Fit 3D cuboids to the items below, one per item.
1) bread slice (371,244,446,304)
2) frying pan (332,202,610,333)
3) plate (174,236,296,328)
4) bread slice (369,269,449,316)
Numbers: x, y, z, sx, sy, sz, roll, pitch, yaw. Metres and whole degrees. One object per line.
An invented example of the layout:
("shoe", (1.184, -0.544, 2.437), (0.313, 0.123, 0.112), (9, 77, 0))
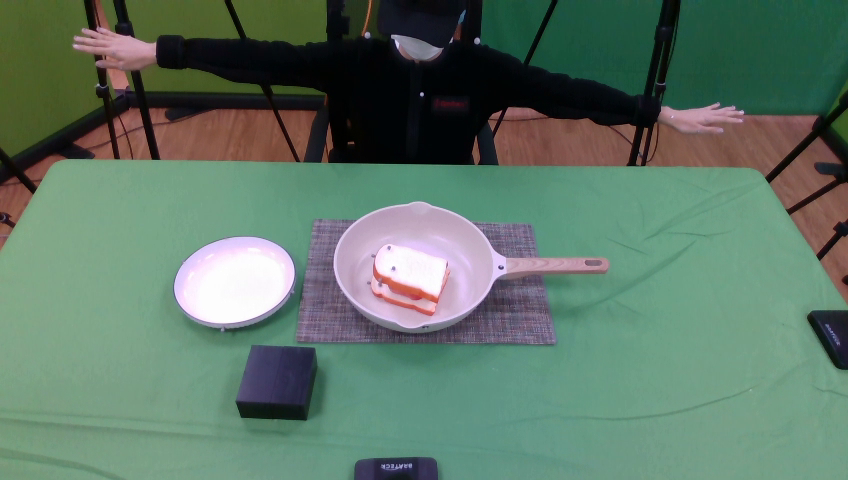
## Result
("bread slice", (-0.028, 0.054, 1.072), (0.131, 0.019, 0.104), (19, 40, -3))
("frying pan", (0.085, 0.052, 1.093), (0.488, 0.103, 0.305), (-1, 46, 6))
("plate", (-0.335, 0.077, 1.087), (0.208, 0.039, 0.206), (2, 46, -2))
("bread slice", (-0.031, 0.082, 1.107), (0.134, 0.018, 0.106), (12, 45, 8))
